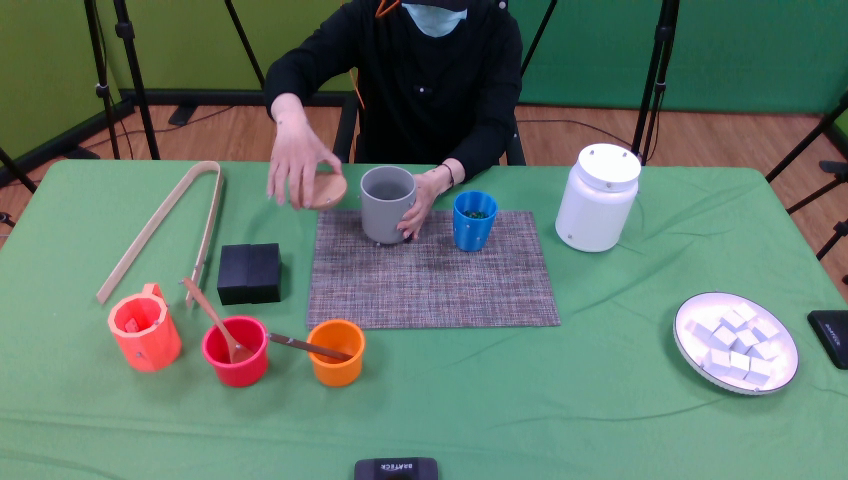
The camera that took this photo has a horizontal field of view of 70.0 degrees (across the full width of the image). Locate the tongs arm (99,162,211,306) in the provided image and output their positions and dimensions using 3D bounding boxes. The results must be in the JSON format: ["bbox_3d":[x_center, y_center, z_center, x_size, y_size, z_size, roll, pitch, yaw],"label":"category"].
[{"bbox_3d":[-0.519,-0.026,1.186,0.028,0.028,0.385,4,46,14],"label":"tongs arm"}]

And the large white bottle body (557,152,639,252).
[{"bbox_3d":[0.340,-0.081,1.185,0.131,0.185,0.130,2,46,-1],"label":"large white bottle body"}]

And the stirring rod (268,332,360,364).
[{"bbox_3d":[-0.167,0.169,0.942,0.177,0.006,0.014,26,27,-41],"label":"stirring rod"}]

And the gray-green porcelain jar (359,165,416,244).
[{"bbox_3d":[-0.071,-0.064,1.175,0.106,0.127,0.105,2,46,-2],"label":"gray-green porcelain jar"}]

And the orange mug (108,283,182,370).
[{"bbox_3d":[-0.446,0.134,0.983,0.083,0.101,0.125,-1,50,-5],"label":"orange mug"}]

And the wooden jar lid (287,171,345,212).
[{"bbox_3d":[-0.201,-0.089,1.135,0.108,0.021,0.107,-2,45,2],"label":"wooden jar lid"}]

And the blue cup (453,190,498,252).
[{"bbox_3d":[0.094,-0.032,1.174,0.093,0.101,0.092,3,45,-3],"label":"blue cup"}]

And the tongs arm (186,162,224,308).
[{"bbox_3d":[-0.435,-0.025,1.181,0.051,0.027,0.382,-4,46,2],"label":"tongs arm"}]

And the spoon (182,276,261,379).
[{"bbox_3d":[-0.321,0.137,0.957,0.041,0.021,0.194,-36,102,-32],"label":"spoon"}]

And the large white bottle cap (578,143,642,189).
[{"bbox_3d":[0.344,-0.139,1.123,0.115,0.018,0.114,2,46,-2],"label":"large white bottle cap"}]

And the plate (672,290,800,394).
[{"bbox_3d":[0.533,0.178,1.050,0.208,0.039,0.206,2,46,-2],"label":"plate"}]
